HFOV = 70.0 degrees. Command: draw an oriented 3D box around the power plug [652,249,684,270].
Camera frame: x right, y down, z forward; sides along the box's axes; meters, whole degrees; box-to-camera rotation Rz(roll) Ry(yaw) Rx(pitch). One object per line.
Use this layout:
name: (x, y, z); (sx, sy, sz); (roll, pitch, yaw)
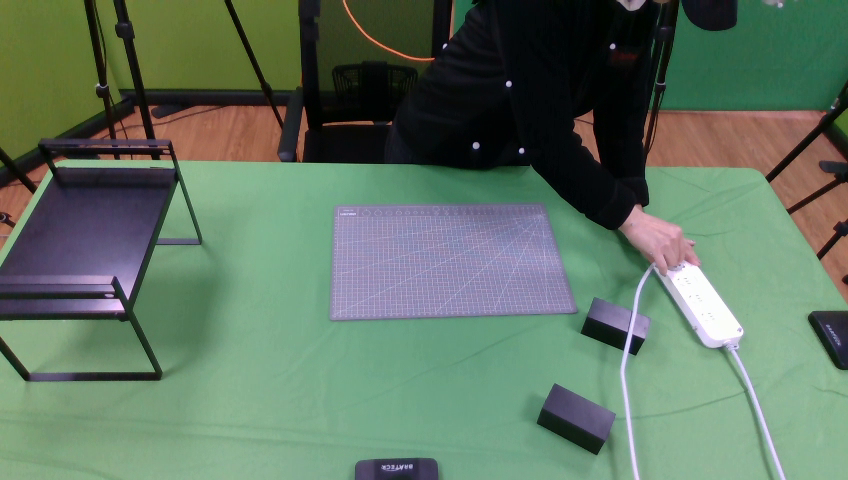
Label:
power plug: (0.459, 0.040, 1.155); (0.072, 0.053, 0.035); (3, 46, -4)

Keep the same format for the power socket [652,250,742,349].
power socket: (0.503, 0.104, 1.126); (0.072, 0.033, 0.225); (-8, 47, -11)
